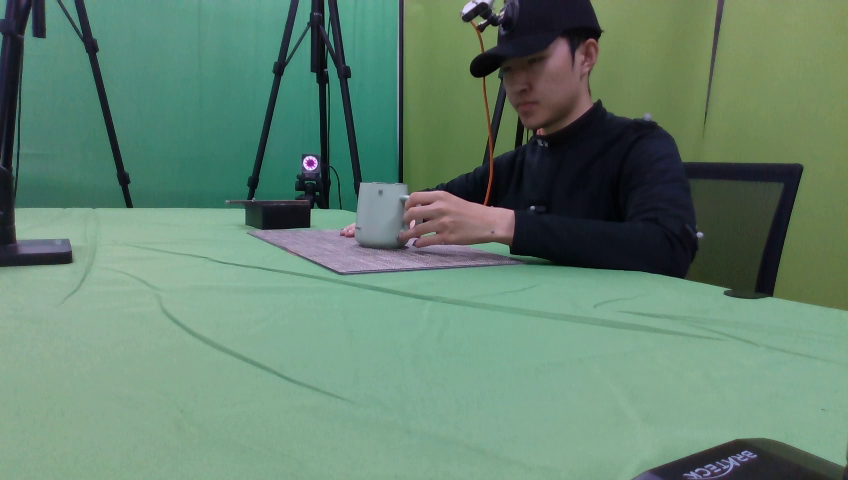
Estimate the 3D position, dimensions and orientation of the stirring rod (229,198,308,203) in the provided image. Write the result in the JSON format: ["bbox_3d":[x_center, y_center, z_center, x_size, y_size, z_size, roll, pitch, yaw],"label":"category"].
[{"bbox_3d":[-0.317,-0.081,1.246,0.177,0.006,0.014,-5,10,-43],"label":"stirring rod"}]

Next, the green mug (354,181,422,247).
[{"bbox_3d":[-0.055,-0.042,0.989,0.125,0.105,0.093,7,8,35],"label":"green mug"}]
